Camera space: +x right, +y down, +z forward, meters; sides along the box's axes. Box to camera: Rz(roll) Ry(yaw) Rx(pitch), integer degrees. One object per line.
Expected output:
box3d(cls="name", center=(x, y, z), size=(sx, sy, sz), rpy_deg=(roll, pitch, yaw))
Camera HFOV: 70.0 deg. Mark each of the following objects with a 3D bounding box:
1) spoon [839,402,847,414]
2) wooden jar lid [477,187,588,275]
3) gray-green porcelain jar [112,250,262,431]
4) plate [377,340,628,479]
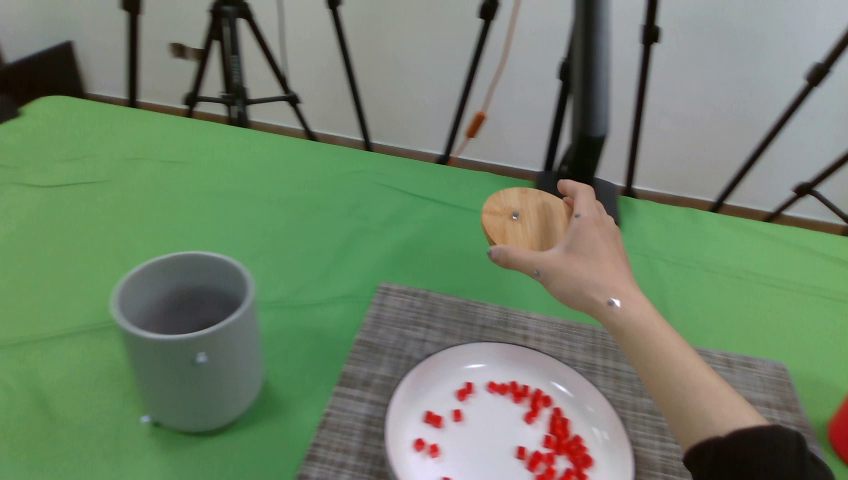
box3d(cls="spoon", center=(0.449, 0.153, 0.510), size=(0.042, 0.021, 0.193), rpy_deg=(-5, -2, -22))
box3d(cls="wooden jar lid", center=(0.102, -0.008, 0.576), size=(0.109, 0.021, 0.107), rpy_deg=(9, 47, -9))
box3d(cls="gray-green porcelain jar", center=(-0.194, 0.090, 0.515), size=(0.106, 0.127, 0.105), rpy_deg=(5, 37, -3))
box3d(cls="plate", center=(0.064, 0.173, 0.514), size=(0.208, 0.039, 0.205), rpy_deg=(5, 36, -3))
